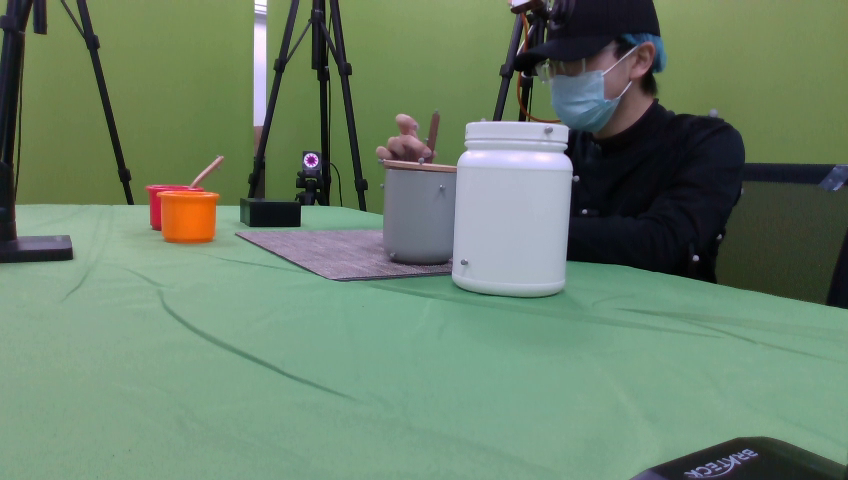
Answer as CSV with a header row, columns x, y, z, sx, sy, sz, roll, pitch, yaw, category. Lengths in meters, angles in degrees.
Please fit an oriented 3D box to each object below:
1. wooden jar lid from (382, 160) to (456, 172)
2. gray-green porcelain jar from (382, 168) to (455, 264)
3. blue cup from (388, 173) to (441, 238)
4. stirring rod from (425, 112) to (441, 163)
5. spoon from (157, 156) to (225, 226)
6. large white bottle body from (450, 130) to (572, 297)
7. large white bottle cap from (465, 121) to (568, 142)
x,y,z,sx,sy,sz,roll,pitch,yaw,category
-0.003,-0.096,0.826,0.108,0.020,0.108,5,10,0,wooden jar lid
-0.005,-0.034,0.834,0.106,0.126,0.106,3,7,0,gray-green porcelain jar
-0.019,-0.056,0.986,0.093,0.100,0.092,4,4,0,blue cup
0.008,-0.127,1.005,0.014,0.176,0.006,10,0,20,stirring rod
-0.425,-0.094,1.117,0.041,0.022,0.194,3,50,31,spoon
0.099,-0.037,0.688,0.131,0.184,0.130,2,7,0,large white bottle body
0.103,-0.120,0.677,0.115,0.018,0.115,2,7,0,large white bottle cap
